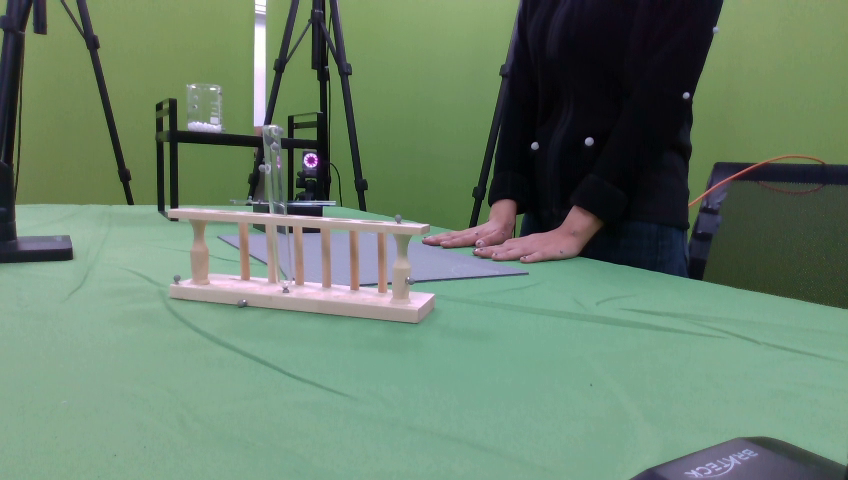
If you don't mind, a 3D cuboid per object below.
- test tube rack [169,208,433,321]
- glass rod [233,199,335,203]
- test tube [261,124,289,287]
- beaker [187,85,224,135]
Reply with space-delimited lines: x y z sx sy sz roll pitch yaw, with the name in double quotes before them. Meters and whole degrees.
"test tube rack" -0.115 0.018 0.574 0.242 0.085 0.067 4 8 13
"glass rod" -0.264 -0.076 1.160 0.201 0.008 0.008 -2 9 -31
"test tube" -0.137 -0.030 0.557 0.017 0.150 0.017 -3 6 1
"beaker" -0.466 -0.275 1.286 0.074 0.100 0.084 5 8 22
